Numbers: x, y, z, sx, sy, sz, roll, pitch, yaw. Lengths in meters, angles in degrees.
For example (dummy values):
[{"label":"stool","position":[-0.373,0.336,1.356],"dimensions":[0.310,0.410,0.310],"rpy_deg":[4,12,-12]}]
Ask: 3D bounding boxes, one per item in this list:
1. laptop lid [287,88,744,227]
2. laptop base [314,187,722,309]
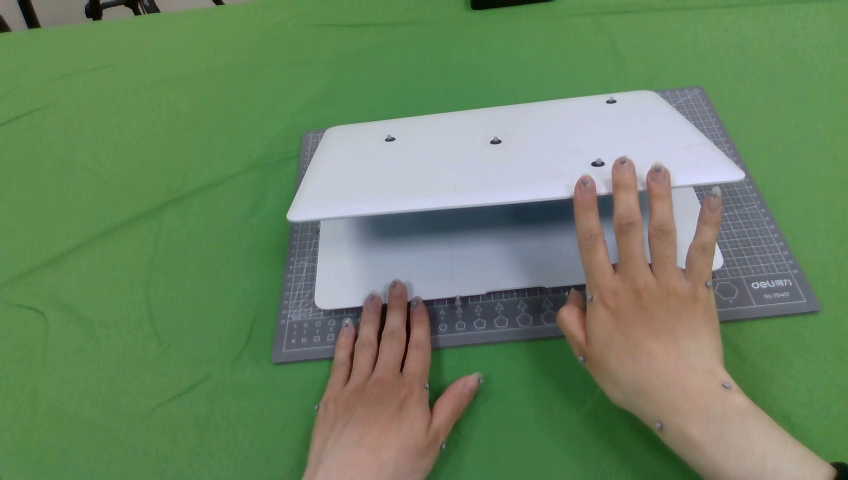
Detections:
[{"label":"laptop lid","position":[0.067,-0.086,0.554],"dimensions":[0.356,0.013,0.239],"rpy_deg":[-5,30,4]},{"label":"laptop base","position":[0.074,-0.045,0.591],"dimensions":[0.354,0.023,0.233],"rpy_deg":[-6,53,3]}]
